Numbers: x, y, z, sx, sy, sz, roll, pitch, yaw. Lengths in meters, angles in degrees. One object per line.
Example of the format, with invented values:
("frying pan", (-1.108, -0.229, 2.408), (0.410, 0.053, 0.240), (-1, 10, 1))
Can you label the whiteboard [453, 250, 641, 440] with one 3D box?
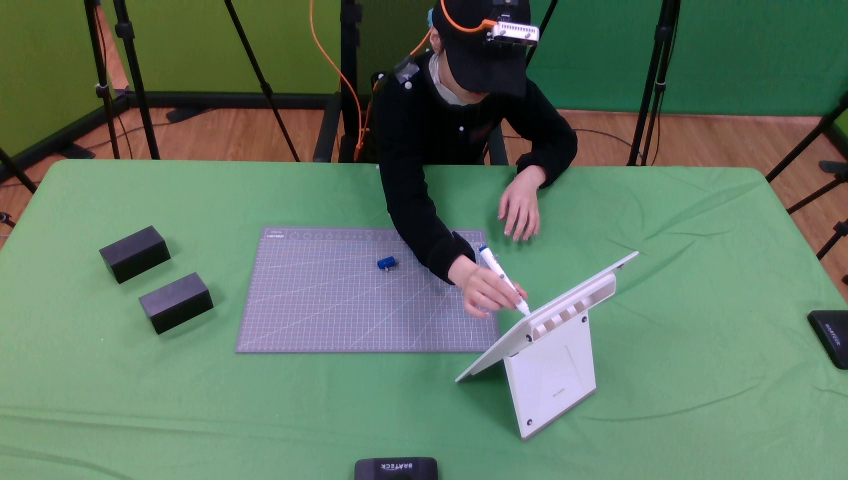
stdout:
("whiteboard", (0.206, 0.175, 0.890), (0.217, 0.306, 0.143), (-25, 72, -25))

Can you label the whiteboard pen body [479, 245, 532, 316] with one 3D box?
("whiteboard pen body", (0.127, 0.066, 0.916), (0.017, 0.017, 0.140), (-28, 77, -27))

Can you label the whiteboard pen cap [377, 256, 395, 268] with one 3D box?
("whiteboard pen cap", (-0.072, 0.042, 1.149), (0.033, 0.018, 0.018), (-18, 50, -17))
